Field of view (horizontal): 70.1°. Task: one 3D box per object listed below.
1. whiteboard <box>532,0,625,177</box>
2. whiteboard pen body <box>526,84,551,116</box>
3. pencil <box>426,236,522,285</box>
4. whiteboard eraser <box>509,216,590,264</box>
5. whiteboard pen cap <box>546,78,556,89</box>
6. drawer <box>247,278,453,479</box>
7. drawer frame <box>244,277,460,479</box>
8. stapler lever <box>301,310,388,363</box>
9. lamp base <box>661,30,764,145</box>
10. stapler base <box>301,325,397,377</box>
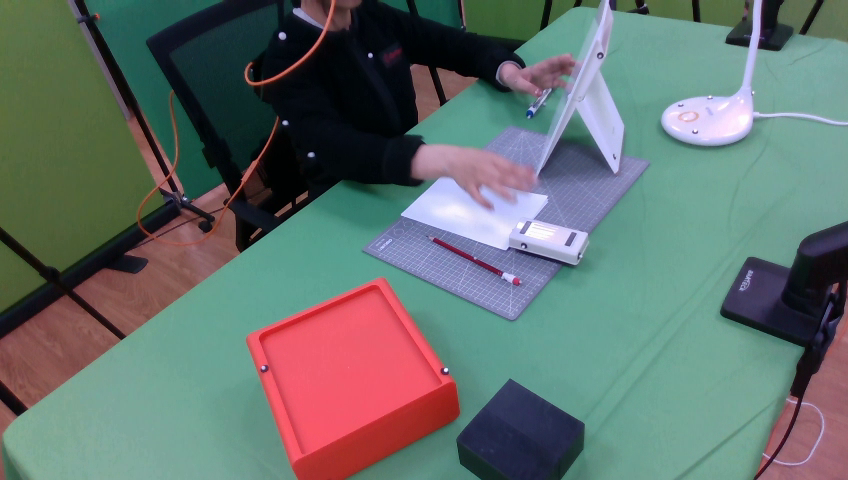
[{"bbox_3d":[0.321,-0.258,1.050,0.144,0.306,0.217,21,45,5],"label":"whiteboard"},{"bbox_3d":[0.251,-0.306,1.298,0.017,0.017,0.141,15,46,26],"label":"whiteboard pen body"},{"bbox_3d":[0.072,0.028,0.941,0.192,0.012,0.012,26,52,37],"label":"pencil"},{"bbox_3d":[0.191,0.002,0.923,0.112,0.042,0.055,16,47,27],"label":"whiteboard eraser"},{"bbox_3d":[0.280,-0.344,1.335,0.018,0.018,0.033,15,45,26],"label":"whiteboard pen cap"},{"bbox_3d":[-0.096,0.167,0.758,0.195,0.073,0.210,-22,43,-16],"label":"drawer"},{"bbox_3d":[-0.093,0.167,0.755,0.202,0.083,0.211,-23,43,-17],"label":"drawer frame"},{"bbox_3d":[-0.104,0.126,0.798,0.118,0.040,0.026,-17,41,-15],"label":"stapler lever"},{"bbox_3d":[0.535,-0.287,1.096,0.179,0.181,0.159,-10,40,-4],"label":"lamp base"},{"bbox_3d":[-0.102,0.142,0.815,0.131,0.024,0.041,-18,42,-13],"label":"stapler base"}]
